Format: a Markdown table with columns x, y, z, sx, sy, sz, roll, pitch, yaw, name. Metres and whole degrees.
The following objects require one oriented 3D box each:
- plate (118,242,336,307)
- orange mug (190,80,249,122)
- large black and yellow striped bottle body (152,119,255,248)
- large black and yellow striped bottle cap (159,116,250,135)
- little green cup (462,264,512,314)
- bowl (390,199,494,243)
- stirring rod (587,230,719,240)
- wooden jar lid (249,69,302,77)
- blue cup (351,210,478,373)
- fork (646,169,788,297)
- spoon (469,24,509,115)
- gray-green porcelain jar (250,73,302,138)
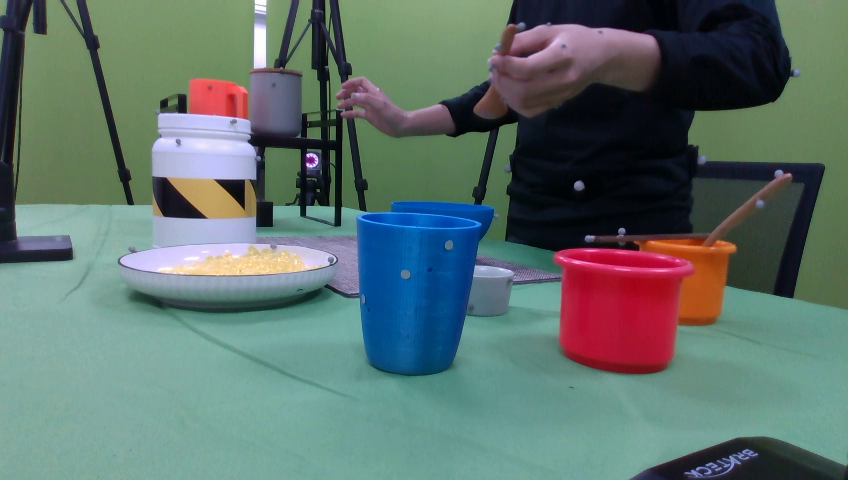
| x | y | z | sx | sy | sz | roll | pitch | yaw | name |
| --- | --- | --- | --- | --- | --- | --- | --- | --- | --- |
| -0.194 | 0.033 | 0.615 | 0.209 | 0.038 | 0.209 | 2 | 7 | 0 | plate |
| -0.393 | -0.257 | 1.173 | 0.126 | 0.100 | 0.084 | 1 | 6 | 25 | orange mug |
| -0.296 | -0.070 | 0.819 | 0.131 | 0.184 | 0.130 | 2 | 7 | 0 | large black and yellow striped bottle body |
| -0.292 | -0.153 | 0.810 | 0.115 | 0.019 | 0.115 | 3 | 9 | 0 | large black and yellow striped bottle cap |
| 0.053 | 0.047 | 0.580 | 0.061 | 0.038 | 0.061 | 3 | 8 | 0 | little green cup |
| 0.024 | -0.015 | 0.872 | 0.151 | 0.077 | 0.151 | 3 | 7 | 0 | bowl |
| 0.226 | -0.005 | 0.587 | 0.177 | 0.006 | 0.014 | -2 | 10 | -29 | stirring rod |
| -0.309 | -0.341 | 1.262 | 0.108 | 0.020 | 0.108 | 1 | 8 | 0 | wooden jar lid |
| -0.009 | 0.034 | 0.414 | 0.093 | 0.100 | 0.092 | 3 | 9 | 0 | blue cup |
| 0.256 | 0.004 | 0.543 | 0.028 | 0.018 | 0.207 | 3 | -36 | -10 | fork |
| 0.074 | -0.181 | 0.662 | 0.041 | 0.021 | 0.194 | 6 | -16 | 3 | spoon |
| -0.312 | -0.280 | 1.270 | 0.106 | 0.126 | 0.106 | 3 | 8 | 0 | gray-green porcelain jar |
